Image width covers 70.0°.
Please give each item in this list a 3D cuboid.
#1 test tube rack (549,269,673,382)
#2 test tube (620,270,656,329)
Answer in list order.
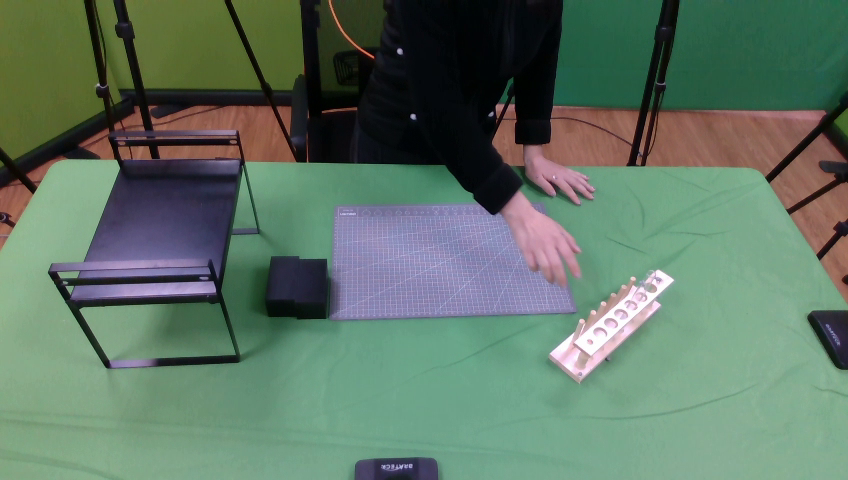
[{"bbox_3d":[0.325,0.134,1.047,0.242,0.085,0.066,-32,56,-30],"label":"test tube rack"},{"bbox_3d":[0.352,0.102,1.012,0.017,0.151,0.017,4,47,-4],"label":"test tube"}]
